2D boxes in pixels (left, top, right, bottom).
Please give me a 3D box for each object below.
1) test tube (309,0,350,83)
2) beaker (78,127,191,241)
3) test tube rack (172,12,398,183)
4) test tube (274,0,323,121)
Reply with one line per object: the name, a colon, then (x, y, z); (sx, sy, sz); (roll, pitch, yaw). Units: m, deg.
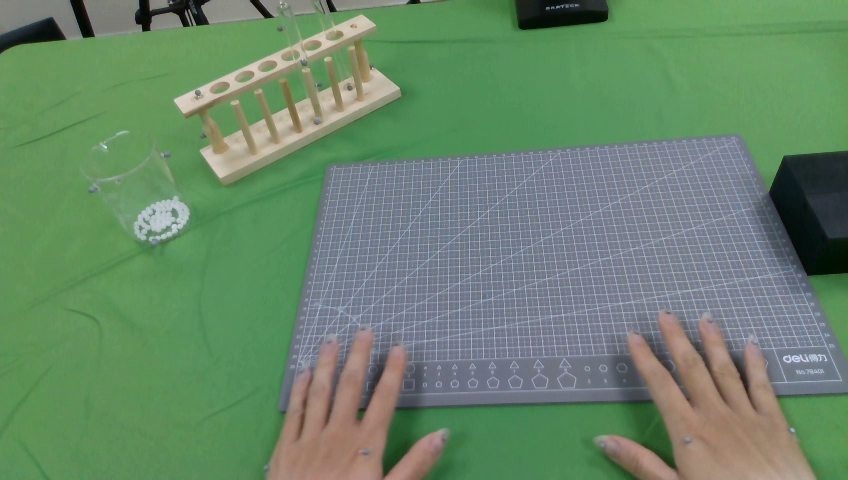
test tube: (-0.113, -0.246, 0.702); (0.017, 0.152, 0.017); (-7, 50, 9)
beaker: (-0.294, -0.055, 0.624); (0.083, 0.101, 0.074); (30, 60, 30)
test tube rack: (-0.154, -0.170, 0.709); (0.242, 0.086, 0.066); (-31, 53, -17)
test tube: (-0.137, -0.196, 0.669); (0.017, 0.152, 0.017); (-5, 49, 6)
